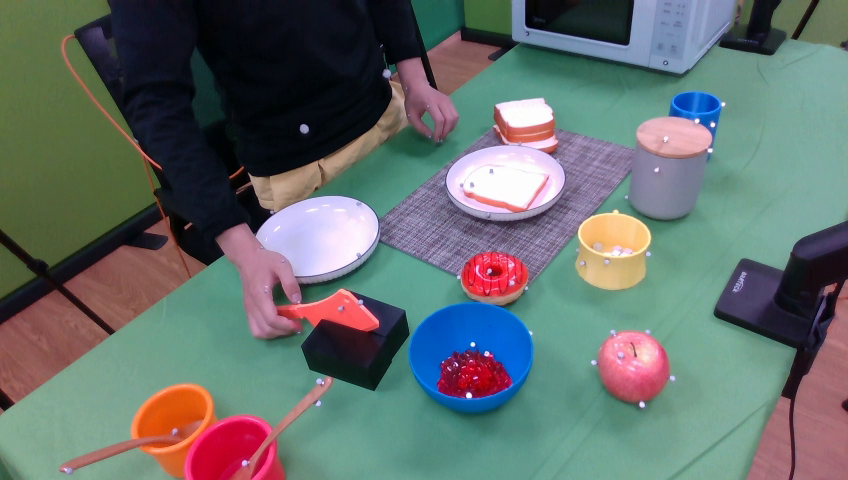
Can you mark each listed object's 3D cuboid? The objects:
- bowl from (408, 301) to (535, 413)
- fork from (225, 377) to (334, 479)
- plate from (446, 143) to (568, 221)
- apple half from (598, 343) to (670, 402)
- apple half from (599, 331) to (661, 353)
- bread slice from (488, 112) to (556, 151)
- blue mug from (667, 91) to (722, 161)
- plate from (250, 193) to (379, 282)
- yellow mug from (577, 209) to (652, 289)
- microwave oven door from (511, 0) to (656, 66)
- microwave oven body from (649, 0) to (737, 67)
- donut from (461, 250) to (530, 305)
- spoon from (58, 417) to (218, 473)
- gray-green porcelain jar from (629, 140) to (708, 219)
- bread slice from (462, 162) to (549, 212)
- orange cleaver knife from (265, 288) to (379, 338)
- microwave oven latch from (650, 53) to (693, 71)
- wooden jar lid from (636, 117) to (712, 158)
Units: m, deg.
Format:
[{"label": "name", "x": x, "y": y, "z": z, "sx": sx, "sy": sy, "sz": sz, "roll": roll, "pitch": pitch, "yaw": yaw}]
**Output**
[{"label": "bowl", "x": 0.060, "y": 0.156, "z": 0.739, "sx": 0.151, "sy": 0.077, "sz": 0.150, "roll": -4, "pitch": 40, "yaw": 4}, {"label": "fork", "x": -0.163, "y": 0.216, "z": 0.647, "sx": 0.207, "sy": 0.019, "sz": 0.028, "roll": -49, "pitch": 42, "yaw": 16}, {"label": "plate", "x": 0.142, "y": -0.096, "z": 1.045, "sx": 0.207, "sy": 0.039, "sz": 0.206, "roll": -4, "pitch": 40, "yaw": 4}, {"label": "apple half", "x": 0.247, "y": 0.161, "z": 0.710, "sx": 0.081, "sy": 0.075, "sz": 0.053, "roll": 2, "pitch": 47, "yaw": 5}, {"label": "apple half", "x": 0.249, "y": 0.134, "z": 0.738, "sx": 0.081, "sy": 0.081, "sz": 0.032, "roll": -2, "pitch": 46, "yaw": 7}, {"label": "bread slice", "x": 0.192, "y": -0.204, "z": 1.164, "sx": 0.105, "sy": 0.019, "sz": 0.130, "roll": -12, "pitch": 40, "yaw": -6}, {"label": "blue mug", "x": 0.474, "y": -0.207, "z": 1.079, "sx": 0.082, "sy": 0.106, "sz": 0.116, "roll": 4, "pitch": 42, "yaw": 13}, {"label": "plate", "x": -0.174, "y": -0.001, "z": 0.984, "sx": 0.209, "sy": 0.038, "sz": 0.208, "roll": -3, "pitch": 40, "yaw": 3}, {"label": "yellow mug", "x": 0.279, "y": 0.004, "z": 0.893, "sx": 0.099, "sy": 0.064, "sz": 0.130, "roll": 5, "pitch": 42, "yaw": 15}, {"label": "microwave oven door", "x": 0.351, "y": -0.540, "z": 1.349, "sx": 0.353, "sy": 0.245, "sz": 0.039, "roll": 24, "pitch": 50, "yaw": 31}, {"label": "microwave oven body", "x": 0.475, "y": -0.602, "z": 1.411, "sx": 0.438, "sy": 0.261, "sz": 0.327, "roll": 23, "pitch": 50, "yaw": 32}, {"label": "donut", "x": 0.103, "y": 0.053, "z": 0.872, "sx": 0.099, "sy": 0.048, "sz": 0.098, "roll": -5, "pitch": 40, "yaw": 4}, {"label": "spoon", "x": -0.304, "y": 0.221, "z": 0.661, "sx": 0.041, "sy": 0.195, "sz": 0.021, "roll": 19, "pitch": 92, "yaw": 27}, {"label": "gray-green porcelain jar", "x": 0.383, "y": -0.105, "z": 0.958, "sx": 0.106, "sy": 0.127, "sz": 0.105, "roll": -4, "pitch": 41, "yaw": 4}, {"label": "bread slice", "x": 0.135, "y": -0.094, "z": 1.045, "sx": 0.133, "sy": 0.018, "sz": 0.107, "roll": 15, "pitch": 45, "yaw": 23}, {"label": "orange cleaver knife", "x": -0.143, "y": 0.105, "z": 0.823, "sx": 0.210, "sy": 0.077, "sz": 0.012, "roll": -12, "pitch": 29, "yaw": 43}, {"label": "microwave oven latch", "x": 0.531, "y": -0.386, "z": 1.301, "sx": 0.078, "sy": 0.029, "sz": 0.030, "roll": 26, "pitch": 51, "yaw": 33}, {"label": "wooden jar lid", "x": 0.377, "y": -0.151, "z": 0.917, "sx": 0.108, "sy": 0.021, "sz": 0.108, "roll": -3, "pitch": 41, "yaw": 3}]
